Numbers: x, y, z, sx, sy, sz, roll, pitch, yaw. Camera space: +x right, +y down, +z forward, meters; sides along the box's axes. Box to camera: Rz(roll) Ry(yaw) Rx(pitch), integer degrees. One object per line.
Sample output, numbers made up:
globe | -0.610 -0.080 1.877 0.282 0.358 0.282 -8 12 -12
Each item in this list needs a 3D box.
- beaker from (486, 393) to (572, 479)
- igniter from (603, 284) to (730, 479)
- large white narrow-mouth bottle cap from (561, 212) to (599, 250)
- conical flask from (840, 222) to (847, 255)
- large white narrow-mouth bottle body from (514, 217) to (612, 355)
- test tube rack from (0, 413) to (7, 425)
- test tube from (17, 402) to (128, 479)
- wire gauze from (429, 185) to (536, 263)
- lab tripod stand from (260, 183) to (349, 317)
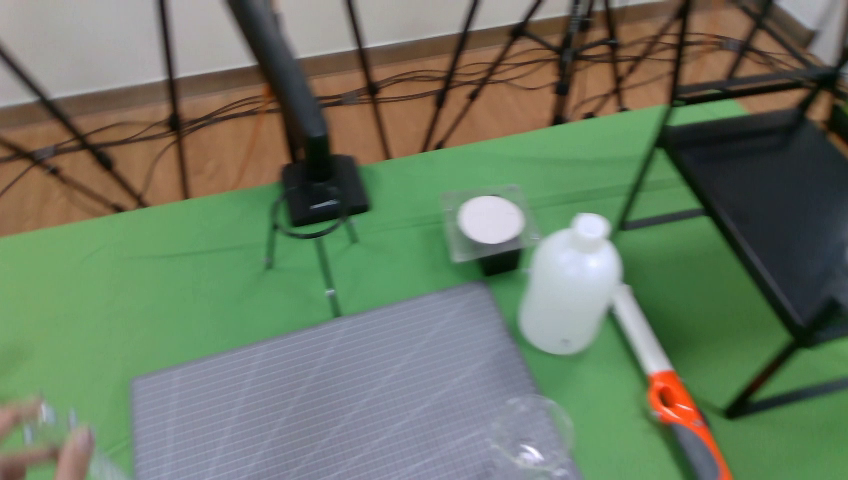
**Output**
beaker | 0.101 0.214 0.622 0.084 0.101 0.073 -10 51 -9
igniter | 0.277 0.166 0.717 0.057 0.025 0.273 -4 50 -18
large white narrow-mouth bottle cap | 0.164 -0.010 0.637 0.038 0.024 0.037 1 50 0
conical flask | 0.469 -0.026 0.584 0.075 0.123 0.074 1 51 0
large white narrow-mouth bottle body | 0.163 0.047 0.703 0.102 0.196 0.101 1 50 0
test tube rack | -0.558 0.241 0.594 0.066 0.086 0.241 25 54 18
test tube | -0.225 0.150 0.408 0.017 0.151 0.017 -2 48 3
wire gauze | 0.077 -0.027 0.818 0.122 0.011 0.123 -9 51 -8
lab tripod stand | -0.145 0.008 0.766 0.148 0.132 0.147 2 51 -2
